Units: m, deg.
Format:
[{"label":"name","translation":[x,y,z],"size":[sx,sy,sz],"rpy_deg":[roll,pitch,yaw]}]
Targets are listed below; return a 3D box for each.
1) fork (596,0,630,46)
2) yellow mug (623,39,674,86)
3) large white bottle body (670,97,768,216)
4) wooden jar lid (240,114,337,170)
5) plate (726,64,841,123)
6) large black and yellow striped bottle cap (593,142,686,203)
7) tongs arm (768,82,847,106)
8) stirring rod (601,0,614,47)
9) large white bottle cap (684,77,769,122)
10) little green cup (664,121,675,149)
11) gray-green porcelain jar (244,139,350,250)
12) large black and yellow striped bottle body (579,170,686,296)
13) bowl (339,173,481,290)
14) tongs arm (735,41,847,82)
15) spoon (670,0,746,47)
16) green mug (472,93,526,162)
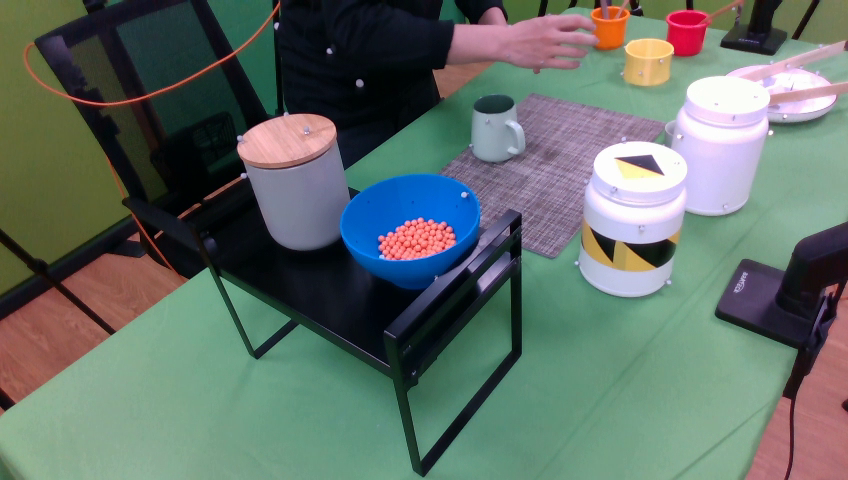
[{"label":"fork","translation":[0.481,-0.556,1.453],"size":[0.028,0.019,0.207],"rpy_deg":[40,103,38]},{"label":"yellow mug","translation":[0.485,-0.398,1.334],"size":[0.100,0.064,0.130],"rpy_deg":[-18,40,-11]},{"label":"large white bottle body","translation":[0.458,-0.146,0.952],"size":[0.130,0.185,0.130],"rpy_deg":[-4,40,4]},{"label":"wooden jar lid","translation":[-0.149,-0.106,0.674],"size":[0.108,0.021,0.108],"rpy_deg":[-6,39,5]},{"label":"plate","translation":[0.695,-0.282,1.189],"size":[0.207,0.039,0.206],"rpy_deg":[-4,40,4]},{"label":"large black and yellow striped bottle cap","translation":[0.280,-0.090,0.786],"size":[0.115,0.019,0.114],"rpy_deg":[-5,41,5]},{"label":"tongs arm","translation":[0.738,-0.282,1.134],"size":[0.388,0.028,0.028],"rpy_deg":[-9,46,-5]},{"label":"stirring rod","translation":[0.439,-0.552,1.463],"size":[0.014,0.006,0.175],"rpy_deg":[-7,83,3]},{"label":"large white bottle cap","translation":[0.448,-0.209,0.898],"size":[0.115,0.018,0.114],"rpy_deg":[-4,40,4]},{"label":"little green cup","translation":[0.473,-0.188,1.113],"size":[0.061,0.039,0.061],"rpy_deg":[-5,40,5]},{"label":"gray-green porcelain jar","translation":[-0.144,-0.060,0.714],"size":[0.106,0.127,0.105],"rpy_deg":[-4,41,4]},{"label":"large black and yellow striped bottle body","translation":[0.287,-0.027,0.841],"size":[0.131,0.185,0.130],"rpy_deg":[-4,41,4]},{"label":"bowl","translation":[-0.011,0.001,0.660],"size":[0.151,0.077,0.150],"rpy_deg":[-5,41,5]},{"label":"tongs arm","translation":[0.712,-0.332,1.194],"size":[0.386,0.026,0.050],"rpy_deg":[-18,44,-16]},{"label":"spoon","translation":[0.629,-0.484,1.350],"size":[0.022,0.193,0.042],"rpy_deg":[48,54,-7]},{"label":"green mug","translation":[0.144,-0.202,1.122],"size":[0.093,0.105,0.124],"rpy_deg":[-29,45,-23]}]
